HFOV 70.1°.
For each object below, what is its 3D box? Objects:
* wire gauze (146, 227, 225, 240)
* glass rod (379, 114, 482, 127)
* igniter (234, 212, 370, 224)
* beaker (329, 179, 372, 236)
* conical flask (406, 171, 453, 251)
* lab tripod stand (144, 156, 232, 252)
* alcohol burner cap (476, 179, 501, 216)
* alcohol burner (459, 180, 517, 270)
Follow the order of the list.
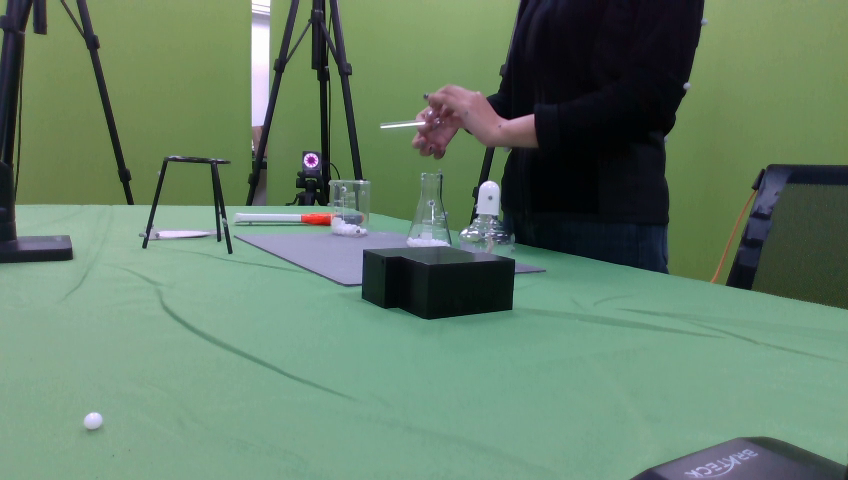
[{"bbox_3d":[-0.400,-0.012,1.019,0.122,0.011,0.124,-1,6,-26],"label":"wire gauze"},{"bbox_3d":[0.015,-0.207,1.043,0.200,0.008,0.008,-10,12,-25],"label":"glass rod"},{"bbox_3d":[-0.247,-0.046,1.253,0.278,0.025,0.057,-1,-2,-27],"label":"igniter"},{"bbox_3d":[-0.137,-0.061,1.101,0.084,0.100,0.074,5,7,20],"label":"beaker"},{"bbox_3d":[0.011,-0.046,0.948,0.075,0.122,0.075,2,7,0],"label":"conical flask"},{"bbox_3d":[-0.325,-0.054,0.881,0.148,0.131,0.148,4,7,0],"label":"lab tripod stand"},{"bbox_3d":[0.086,-0.056,0.801,0.034,0.048,0.034,4,2,0],"label":"alcohol burner cap"},{"bbox_3d":[0.086,-0.021,0.806,0.078,0.119,0.078,3,10,0],"label":"alcohol burner"}]
